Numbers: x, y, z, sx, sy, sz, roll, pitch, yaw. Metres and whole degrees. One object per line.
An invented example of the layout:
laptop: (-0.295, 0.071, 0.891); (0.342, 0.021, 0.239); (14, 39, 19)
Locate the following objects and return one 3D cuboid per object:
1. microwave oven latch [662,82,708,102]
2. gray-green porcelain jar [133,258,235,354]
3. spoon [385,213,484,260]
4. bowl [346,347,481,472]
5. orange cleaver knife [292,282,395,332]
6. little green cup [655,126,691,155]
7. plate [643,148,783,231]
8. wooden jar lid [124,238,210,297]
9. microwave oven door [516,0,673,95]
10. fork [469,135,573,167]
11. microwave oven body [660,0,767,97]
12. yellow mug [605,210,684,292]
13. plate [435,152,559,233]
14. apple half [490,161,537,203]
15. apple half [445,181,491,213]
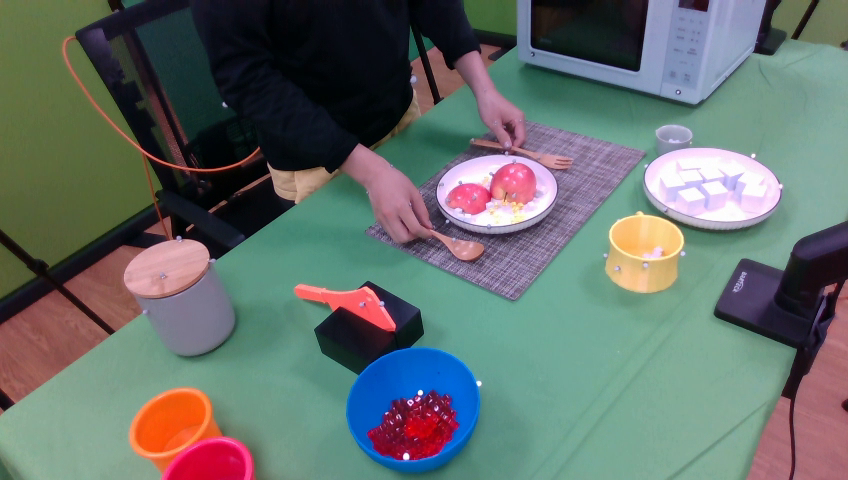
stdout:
microwave oven latch: (0.518, -0.298, 1.203); (0.078, 0.029, 0.030); (28, 53, 35)
gray-green porcelain jar: (-0.328, 0.086, 0.836); (0.106, 0.127, 0.105); (-4, 41, 4)
spoon: (0.013, -0.011, 0.971); (0.192, 0.022, 0.042); (26, 59, 28)
bowl: (-0.008, 0.205, 0.691); (0.151, 0.077, 0.150); (-4, 40, 4)
orange cleaver knife: (-0.116, 0.091, 0.835); (0.209, 0.077, 0.012); (2, 32, 48)
little green cup: (0.450, -0.177, 1.099); (0.061, 0.039, 0.061); (-5, 39, 4)
plate: (0.464, -0.080, 0.986); (0.207, 0.039, 0.206); (-4, 41, 4)
wooden jar lid: (-0.335, 0.039, 0.794); (0.108, 0.021, 0.108); (-2, 40, 2)
microwave oven door: (0.344, -0.458, 1.257); (0.353, 0.245, 0.039); (26, 51, 33)
fork: (0.177, -0.168, 1.127); (0.206, 0.019, 0.028); (19, 83, 21)
microwave oven body: (0.474, -0.517, 1.313); (0.438, 0.261, 0.327); (26, 51, 34)
yellow mug: (0.318, 0.007, 0.883); (0.100, 0.064, 0.130); (0, 41, 8)
plate: (0.124, -0.078, 1.026); (0.209, 0.038, 0.208); (-4, 40, 4)
apple half: (0.154, -0.106, 1.030); (0.080, 0.053, 0.075); (22, 46, 31)
apple half: (0.077, -0.083, 1.029); (0.081, 0.033, 0.081); (-2, 42, 2)
